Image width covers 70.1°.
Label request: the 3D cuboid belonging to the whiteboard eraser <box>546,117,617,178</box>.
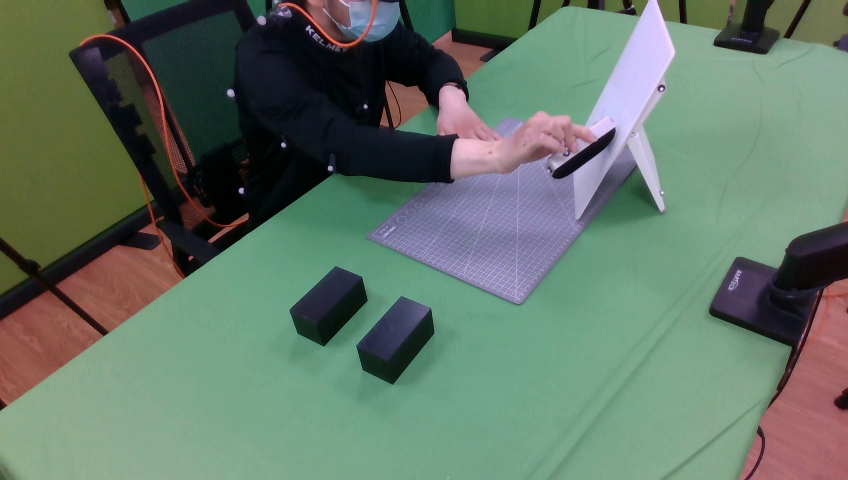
[{"bbox_3d":[0.241,-0.138,0.921,0.112,0.056,0.041,-37,82,0],"label":"whiteboard eraser"}]

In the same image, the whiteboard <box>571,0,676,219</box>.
[{"bbox_3d":[0.364,-0.187,0.965,0.144,0.305,0.216,18,42,-3],"label":"whiteboard"}]
